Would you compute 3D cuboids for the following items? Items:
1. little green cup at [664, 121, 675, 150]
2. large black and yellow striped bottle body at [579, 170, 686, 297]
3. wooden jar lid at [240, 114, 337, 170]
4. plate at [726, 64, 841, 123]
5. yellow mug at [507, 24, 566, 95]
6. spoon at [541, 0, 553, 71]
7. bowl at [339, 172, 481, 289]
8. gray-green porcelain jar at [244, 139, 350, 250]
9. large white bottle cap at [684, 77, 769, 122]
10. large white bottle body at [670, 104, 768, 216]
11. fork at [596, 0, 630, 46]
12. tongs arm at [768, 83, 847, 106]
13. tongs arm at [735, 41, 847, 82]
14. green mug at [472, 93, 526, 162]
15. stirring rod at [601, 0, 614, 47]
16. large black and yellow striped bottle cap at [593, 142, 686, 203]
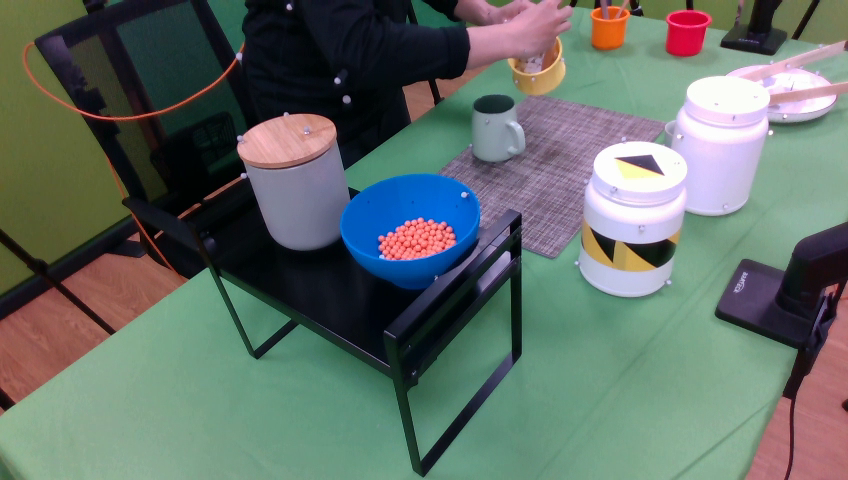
[{"bbox_3d":[0.472,-0.188,1.113,0.061,0.039,0.061,-4,40,4],"label":"little green cup"},{"bbox_3d":[0.287,-0.027,0.842,0.131,0.185,0.130,-4,41,4],"label":"large black and yellow striped bottle body"},{"bbox_3d":[-0.149,-0.106,0.673,0.108,0.021,0.108,-6,39,5],"label":"wooden jar lid"},{"bbox_3d":[0.695,-0.282,1.189,0.207,0.039,0.206,-4,40,4],"label":"plate"},{"bbox_3d":[0.210,-0.346,1.135,0.099,0.064,0.130,-8,68,16],"label":"yellow mug"},{"bbox_3d":[0.219,-0.382,1.065,0.021,0.195,0.041,-5,51,5],"label":"spoon"},{"bbox_3d":[-0.011,0.001,0.660,0.151,0.077,0.150,-5,41,5],"label":"bowl"},{"bbox_3d":[-0.143,-0.060,0.714,0.106,0.127,0.105,-4,41,4],"label":"gray-green porcelain jar"},{"bbox_3d":[0.448,-0.210,0.898,0.115,0.018,0.114,-4,40,4],"label":"large white bottle cap"},{"bbox_3d":[0.458,-0.146,0.953,0.130,0.185,0.130,-4,40,4],"label":"large white bottle body"},{"bbox_3d":[0.481,-0.556,1.453,0.028,0.019,0.207,40,103,38],"label":"fork"},{"bbox_3d":[0.738,-0.281,1.134,0.388,0.028,0.028,-9,47,-5],"label":"tongs arm"},{"bbox_3d":[0.712,-0.332,1.194,0.386,0.026,0.050,-18,45,-16],"label":"tongs arm"},{"bbox_3d":[0.144,-0.202,1.122,0.093,0.105,0.124,-29,45,-23],"label":"green mug"},{"bbox_3d":[0.439,-0.552,1.463,0.014,0.006,0.175,-7,83,3],"label":"stirring rod"},{"bbox_3d":[0.280,-0.090,0.786,0.115,0.019,0.114,-5,41,5],"label":"large black and yellow striped bottle cap"}]
